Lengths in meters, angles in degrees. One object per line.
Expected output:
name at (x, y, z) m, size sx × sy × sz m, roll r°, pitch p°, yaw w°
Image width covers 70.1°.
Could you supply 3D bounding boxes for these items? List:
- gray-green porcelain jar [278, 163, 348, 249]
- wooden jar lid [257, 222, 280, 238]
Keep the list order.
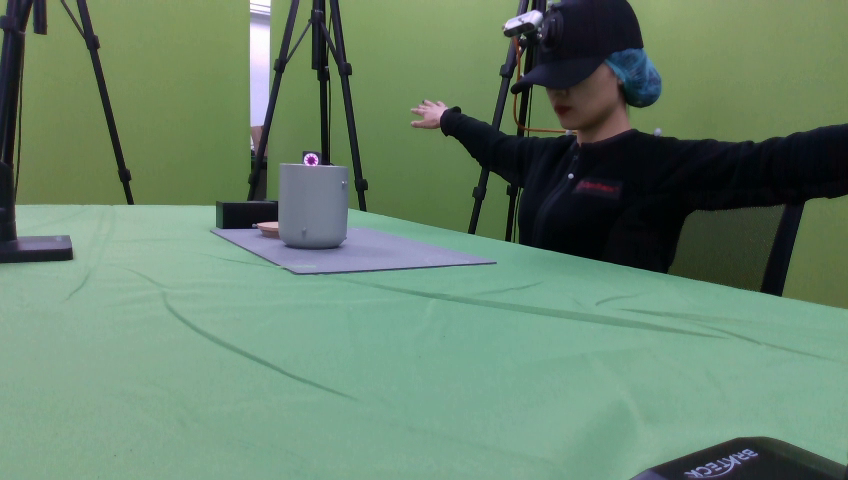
gray-green porcelain jar at (-0.171, -0.053, 0.934) m, size 0.106 × 0.126 × 0.106 m, roll 2°, pitch 7°, yaw 0°
wooden jar lid at (-0.234, -0.018, 1.053) m, size 0.108 × 0.020 × 0.108 m, roll 2°, pitch 9°, yaw 0°
